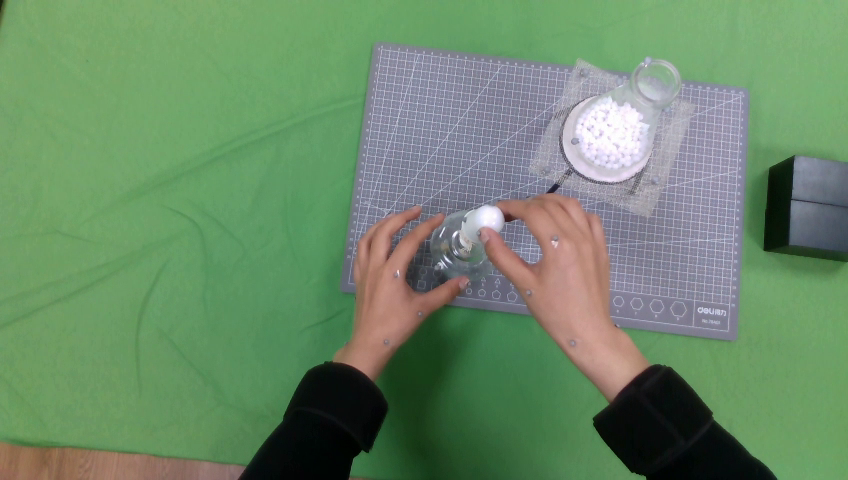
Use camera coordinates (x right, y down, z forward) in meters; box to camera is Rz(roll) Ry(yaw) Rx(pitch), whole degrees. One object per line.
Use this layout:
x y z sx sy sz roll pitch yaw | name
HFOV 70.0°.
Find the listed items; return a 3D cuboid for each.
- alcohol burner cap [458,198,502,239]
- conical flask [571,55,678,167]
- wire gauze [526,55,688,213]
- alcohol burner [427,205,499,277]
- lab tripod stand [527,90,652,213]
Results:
0.051 -0.021 0.538 0.034 0.048 0.033 2 81 -12 | alcohol burner cap
0.175 -0.113 0.515 0.075 0.122 0.075 0 81 0 | conical flask
0.175 -0.100 0.572 0.121 0.011 0.125 24 80 1 | wire gauze
0.042 0.000 0.633 0.078 0.119 0.077 0 85 0 | alcohol burner
0.169 -0.094 0.638 0.148 0.132 0.148 0 81 1 | lab tripod stand
